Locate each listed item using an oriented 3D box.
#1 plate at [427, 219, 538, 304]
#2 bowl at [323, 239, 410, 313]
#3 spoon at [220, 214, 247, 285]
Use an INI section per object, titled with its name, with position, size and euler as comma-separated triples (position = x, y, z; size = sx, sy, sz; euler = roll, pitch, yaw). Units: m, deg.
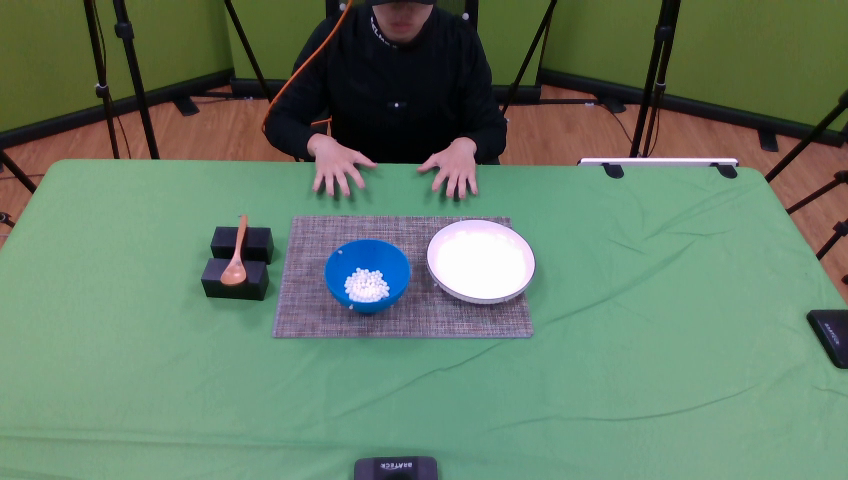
[plate]
position = 0.109, 0.044, 1.149
size = 0.208, 0.039, 0.206
euler = 2, 46, -2
[bowl]
position = -0.102, 0.077, 1.073
size = 0.151, 0.077, 0.150
euler = 2, 46, -2
[spoon]
position = -0.334, 0.014, 1.094
size = 0.041, 0.022, 0.192
euler = -1, 45, -6
